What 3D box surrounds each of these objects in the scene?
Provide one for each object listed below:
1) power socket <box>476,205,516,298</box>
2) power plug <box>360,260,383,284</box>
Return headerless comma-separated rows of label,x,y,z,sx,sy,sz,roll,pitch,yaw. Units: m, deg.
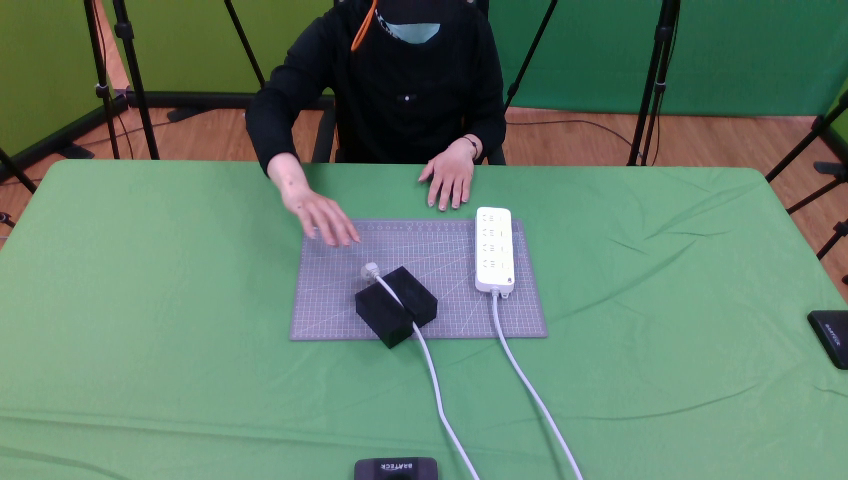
power socket,0.139,0.013,1.178,0.072,0.033,0.225,4,47,2
power plug,-0.094,0.068,1.093,0.035,0.053,0.072,-9,45,-6
